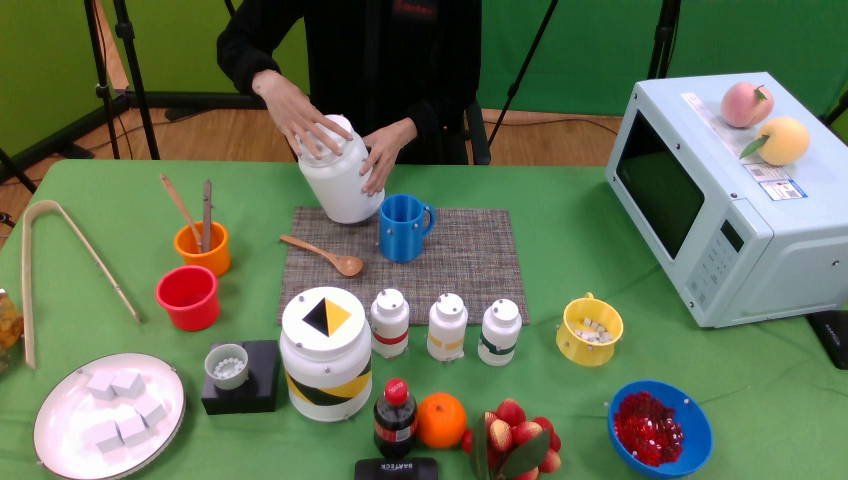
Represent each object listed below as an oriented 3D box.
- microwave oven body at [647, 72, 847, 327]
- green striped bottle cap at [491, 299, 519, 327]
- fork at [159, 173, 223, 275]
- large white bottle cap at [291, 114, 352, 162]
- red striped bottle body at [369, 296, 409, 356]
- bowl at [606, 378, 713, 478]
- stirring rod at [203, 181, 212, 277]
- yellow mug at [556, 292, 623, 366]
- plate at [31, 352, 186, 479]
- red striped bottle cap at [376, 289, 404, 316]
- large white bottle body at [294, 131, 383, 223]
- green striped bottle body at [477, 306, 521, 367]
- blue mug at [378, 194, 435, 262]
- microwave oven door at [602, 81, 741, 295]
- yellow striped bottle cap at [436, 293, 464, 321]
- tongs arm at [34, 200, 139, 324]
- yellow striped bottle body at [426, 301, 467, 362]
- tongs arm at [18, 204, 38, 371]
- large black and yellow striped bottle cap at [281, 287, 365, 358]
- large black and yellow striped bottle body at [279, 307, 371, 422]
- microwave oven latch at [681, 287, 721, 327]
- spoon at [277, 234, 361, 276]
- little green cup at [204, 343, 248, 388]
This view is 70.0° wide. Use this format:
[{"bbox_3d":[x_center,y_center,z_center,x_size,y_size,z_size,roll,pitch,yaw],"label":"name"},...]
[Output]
[{"bbox_3d":[0.607,-0.089,1.164,0.326,0.261,0.438,-7,46,-10],"label":"microwave oven body"},{"bbox_3d":[0.128,0.115,0.958,0.044,0.020,0.044,1,46,-1],"label":"green striped bottle cap"},{"bbox_3d":[-0.427,-0.029,1.103,0.028,0.018,0.207,-31,99,-29],"label":"fork"},{"bbox_3d":[-0.188,-0.188,1.114,0.115,0.018,0.114,-10,49,11],"label":"large white bottle cap"},{"bbox_3d":[-0.058,0.134,0.997,0.063,0.120,0.062,4,47,-4],"label":"red striped bottle body"},{"bbox_3d":[0.340,0.292,0.906,0.151,0.077,0.150,2,46,-2],"label":"bowl"},{"bbox_3d":[-0.396,-0.021,1.107,0.014,0.006,0.176,-1,89,-2],"label":"stirring rod"},{"bbox_3d":[0.285,0.145,1.051,0.100,0.064,0.130,7,45,3],"label":"yellow mug"},{"bbox_3d":[-0.459,0.262,0.898,0.209,0.038,0.208,2,45,-2],"label":"plate"},{"bbox_3d":[-0.054,0.098,0.958,0.044,0.018,0.044,0,48,1],"label":"red striped bottle cap"},{"bbox_3d":[-0.167,-0.135,1.178,0.130,0.186,0.130,-9,50,11],"label":"large white bottle body"},{"bbox_3d":[0.124,0.151,0.995,0.063,0.120,0.063,2,46,-2],"label":"green striped bottle body"},{"bbox_3d":[-0.032,-0.027,1.160,0.116,0.106,0.082,-19,51,-21],"label":"blue mug"},{"bbox_3d":[0.456,-0.107,1.162,0.039,0.245,0.353,-7,47,-11],"label":"microwave oven door"},{"bbox_3d":[0.041,0.106,0.959,0.044,0.019,0.044,-1,50,1],"label":"yellow striped bottle cap"},{"bbox_3d":[-0.622,0.035,1.105,0.051,0.026,0.382,-32,56,-25],"label":"tongs arm"},{"bbox_3d":[0.037,0.142,0.996,0.063,0.121,0.062,2,46,-2],"label":"yellow striped bottle body"},{"bbox_3d":[-0.698,0.070,1.069,0.028,0.028,0.385,-21,51,-13],"label":"tongs arm"},{"bbox_3d":[-0.141,0.112,0.847,0.115,0.019,0.114,5,45,-4],"label":"large black and yellow striped bottle cap"},{"bbox_3d":[-0.145,0.173,0.907,0.131,0.185,0.130,2,46,-2],"label":"large black and yellow striped bottle body"},{"bbox_3d":[0.494,0.119,1.087,0.030,0.029,0.078,-6,46,-9],"label":"microwave oven latch"},{"bbox_3d":[-0.202,0.023,1.155,0.193,0.022,0.041,23,70,17],"label":"spoon"},{"bbox_3d":[-0.294,0.190,0.909,0.061,0.039,0.061,1,48,0],"label":"little green cup"}]
